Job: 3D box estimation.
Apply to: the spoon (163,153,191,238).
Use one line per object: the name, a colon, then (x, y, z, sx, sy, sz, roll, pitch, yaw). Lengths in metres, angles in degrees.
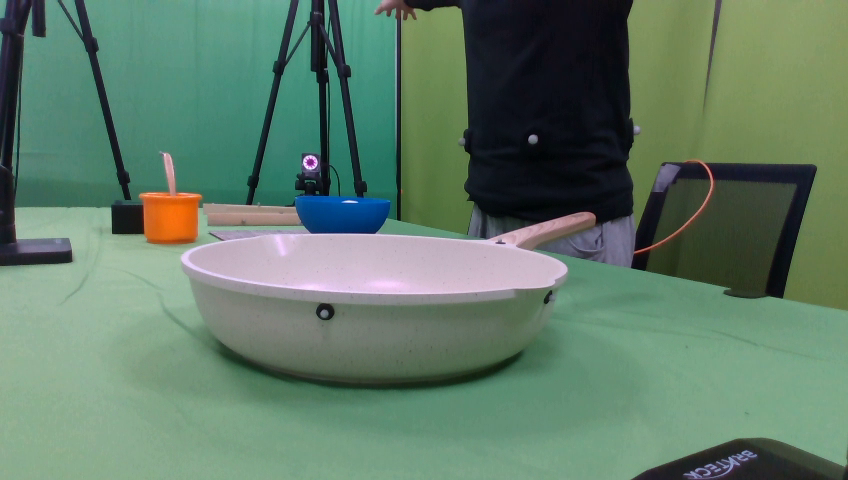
spoon: (-0.413, -0.077, 0.996, 0.042, 0.193, 0.021, 2, -37, -31)

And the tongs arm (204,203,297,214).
tongs arm: (-0.295, -0.062, 1.369, 0.386, 0.026, 0.050, 1, 9, -19)

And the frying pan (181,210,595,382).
frying pan: (0.034, 0.019, 0.557, 0.305, 0.102, 0.490, 10, 19, 42)

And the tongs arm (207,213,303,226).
tongs arm: (-0.264, -0.046, 1.296, 0.390, 0.028, 0.028, -2, 7, -32)

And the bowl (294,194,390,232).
bowl: (-0.130, -0.029, 0.956, 0.151, 0.077, 0.151, 2, 7, 0)
